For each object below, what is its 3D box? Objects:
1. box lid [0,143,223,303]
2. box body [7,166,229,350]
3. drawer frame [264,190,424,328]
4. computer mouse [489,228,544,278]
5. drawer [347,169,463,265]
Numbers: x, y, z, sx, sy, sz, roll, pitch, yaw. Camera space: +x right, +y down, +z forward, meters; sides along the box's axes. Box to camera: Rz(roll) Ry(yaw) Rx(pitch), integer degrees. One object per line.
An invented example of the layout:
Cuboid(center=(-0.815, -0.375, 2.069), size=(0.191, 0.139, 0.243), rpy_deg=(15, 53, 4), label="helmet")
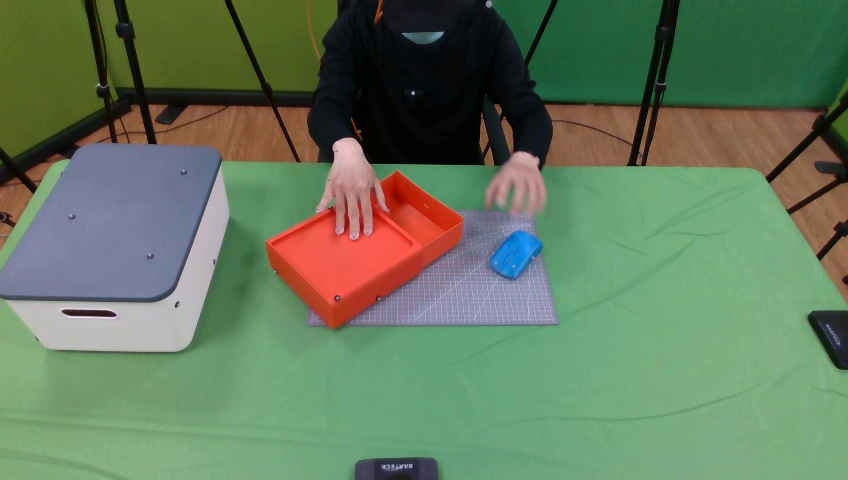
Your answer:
Cuboid(center=(-0.499, -0.045, 1.002), size=(0.263, 0.015, 0.369), rpy_deg=(2, 46, -3), label="box lid")
Cuboid(center=(-0.502, 0.008, 1.054), size=(0.254, 0.161, 0.361), rpy_deg=(1, 46, -3), label="box body")
Cuboid(center=(-0.144, 0.028, 1.114), size=(0.213, 0.083, 0.200), rpy_deg=(-34, 57, -30), label="drawer frame")
Cuboid(center=(0.180, 0.022, 1.175), size=(0.062, 0.041, 0.117), rpy_deg=(33, 57, 23), label="computer mouse")
Cuboid(center=(-0.066, -0.023, 1.169), size=(0.211, 0.073, 0.193), rpy_deg=(-35, 59, -30), label="drawer")
